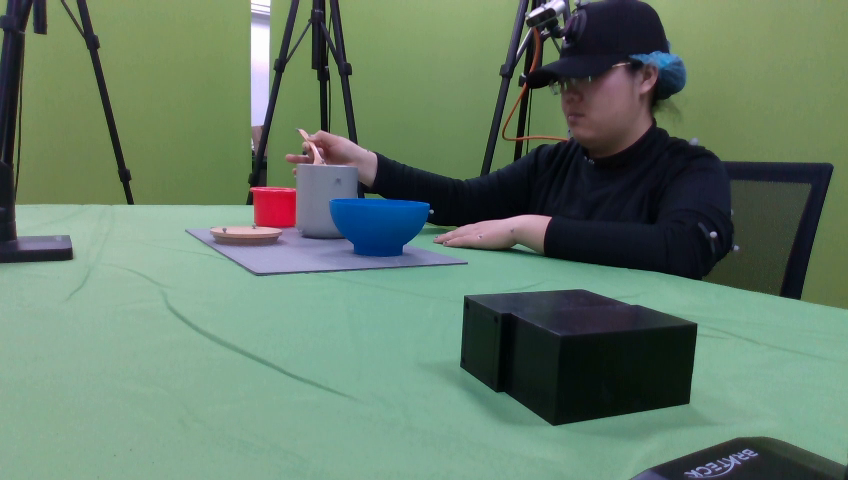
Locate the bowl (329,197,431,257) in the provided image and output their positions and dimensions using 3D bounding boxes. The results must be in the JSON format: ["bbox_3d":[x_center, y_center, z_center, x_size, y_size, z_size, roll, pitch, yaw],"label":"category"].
[{"bbox_3d":[-0.067,-0.019,0.895,0.151,0.077,0.151,3,7,0],"label":"bowl"}]

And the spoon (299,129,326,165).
[{"bbox_3d":[-0.198,-0.160,1.091,0.042,0.021,0.193,2,36,-28],"label":"spoon"}]

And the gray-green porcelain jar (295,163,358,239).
[{"bbox_3d":[-0.170,-0.069,1.054,0.106,0.126,0.106,3,7,0],"label":"gray-green porcelain jar"}]

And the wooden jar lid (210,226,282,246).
[{"bbox_3d":[-0.279,-0.007,0.951,0.108,0.020,0.108,2,8,0],"label":"wooden jar lid"}]
